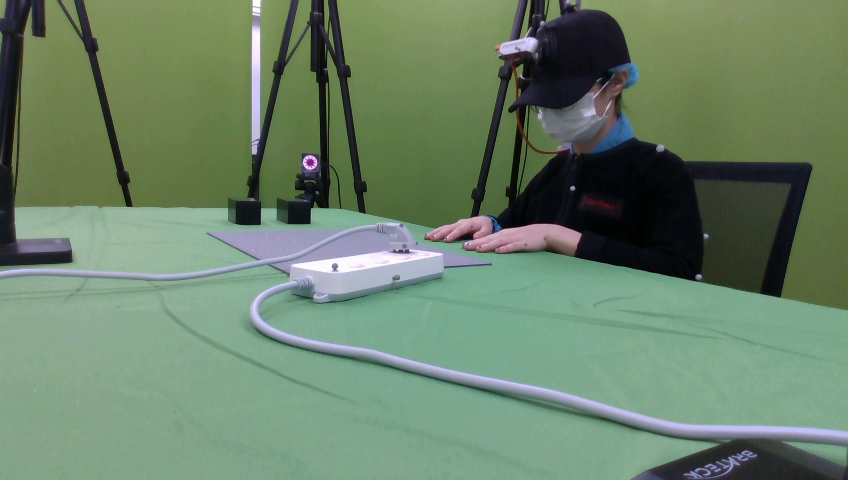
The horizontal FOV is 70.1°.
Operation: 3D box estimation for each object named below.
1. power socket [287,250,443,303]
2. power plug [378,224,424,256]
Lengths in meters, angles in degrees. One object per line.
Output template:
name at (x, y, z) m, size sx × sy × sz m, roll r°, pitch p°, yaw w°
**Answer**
power socket at (-0.059, 0.035, 0.688) m, size 0.072 × 0.032 × 0.228 m, roll 6°, pitch 8°, yaw 34°
power plug at (-0.025, 0.009, 0.729) m, size 0.053 × 0.035 × 0.072 m, roll 5°, pitch 27°, yaw -23°
